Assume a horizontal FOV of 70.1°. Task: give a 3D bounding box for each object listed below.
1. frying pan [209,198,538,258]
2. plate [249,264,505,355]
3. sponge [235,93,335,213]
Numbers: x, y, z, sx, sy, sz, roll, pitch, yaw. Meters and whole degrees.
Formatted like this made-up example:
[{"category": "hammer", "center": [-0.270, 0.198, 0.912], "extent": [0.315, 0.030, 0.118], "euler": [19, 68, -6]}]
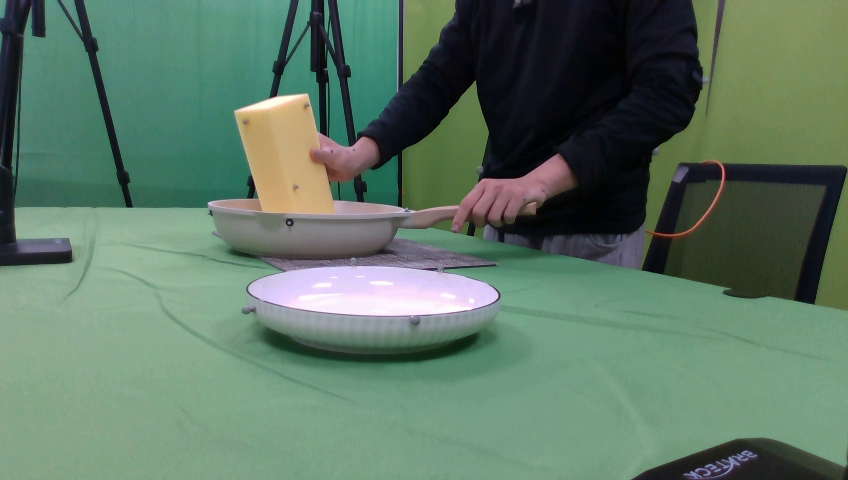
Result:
[{"category": "frying pan", "center": [-0.075, -0.034, 0.912], "extent": [0.487, 0.102, 0.307], "euler": [-5, 7, 11]}, {"category": "plate", "center": [-0.037, 0.056, 0.504], "extent": [0.208, 0.039, 0.207], "euler": [2, 7, 0]}, {"category": "sponge", "center": [-0.214, -0.119, 0.962], "extent": [0.061, 0.207, 0.118], "euler": [-1, 24, 21]}]
